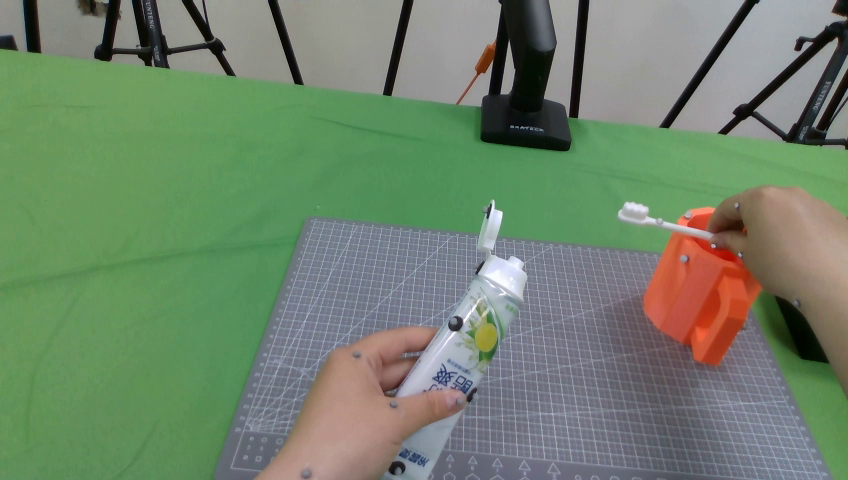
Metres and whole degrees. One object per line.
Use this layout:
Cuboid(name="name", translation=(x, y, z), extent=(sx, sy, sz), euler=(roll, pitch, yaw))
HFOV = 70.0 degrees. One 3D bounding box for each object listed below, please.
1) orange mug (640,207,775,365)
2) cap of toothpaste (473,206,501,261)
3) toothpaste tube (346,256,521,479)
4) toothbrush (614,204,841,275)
Cuboid(name="orange mug", translation=(0.249, 0.043, 0.534), extent=(0.083, 0.101, 0.125), euler=(11, 36, 6))
Cuboid(name="cap of toothpaste", translation=(0.042, -0.005, 0.397), extent=(0.011, 0.037, 0.037), euler=(16, 40, 7))
Cuboid(name="toothpaste tube", translation=(0.014, 0.081, 0.386), extent=(0.055, 0.165, 0.034), euler=(32, -5, -14))
Cuboid(name="toothbrush", translation=(0.250, -0.001, 0.503), extent=(0.181, 0.017, 0.014), euler=(16, 40, 9))
